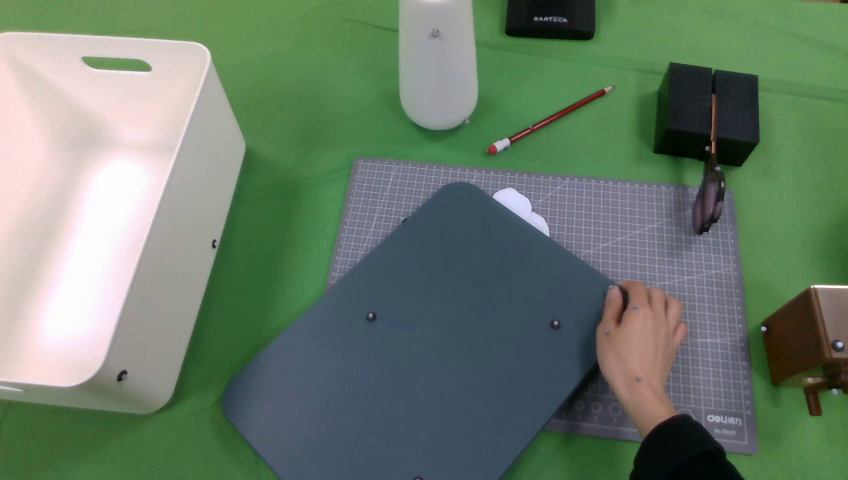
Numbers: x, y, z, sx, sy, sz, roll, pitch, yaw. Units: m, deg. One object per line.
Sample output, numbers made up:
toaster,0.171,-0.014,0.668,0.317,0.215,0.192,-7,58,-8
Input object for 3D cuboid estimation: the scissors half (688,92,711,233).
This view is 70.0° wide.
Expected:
scissors half,0.316,-0.090,0.688,0.013,0.040,0.174,11,77,3

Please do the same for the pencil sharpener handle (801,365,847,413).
pencil sharpener handle,0.367,0.134,0.541,0.036,0.068,0.030,7,64,-9

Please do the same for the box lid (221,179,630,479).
box lid,0.007,0.109,0.616,0.261,0.015,0.371,38,69,23

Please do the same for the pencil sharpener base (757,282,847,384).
pencil sharpener base,0.374,0.094,0.574,0.061,0.108,0.076,2,64,3

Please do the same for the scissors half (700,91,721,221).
scissors half,0.315,-0.099,0.669,0.013,0.040,0.174,8,60,8

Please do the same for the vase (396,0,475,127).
vase,0.011,-0.220,0.690,0.098,0.201,0.097,-1,62,3

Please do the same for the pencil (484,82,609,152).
pencil,0.157,-0.157,0.760,0.194,0.012,0.012,-29,66,-14

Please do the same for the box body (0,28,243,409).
box body,-0.358,-0.021,0.626,0.254,0.161,0.361,5,64,4

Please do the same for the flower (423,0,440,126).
flower,0.002,-0.269,0.622,0.044,0.365,0.038,-1,46,6
